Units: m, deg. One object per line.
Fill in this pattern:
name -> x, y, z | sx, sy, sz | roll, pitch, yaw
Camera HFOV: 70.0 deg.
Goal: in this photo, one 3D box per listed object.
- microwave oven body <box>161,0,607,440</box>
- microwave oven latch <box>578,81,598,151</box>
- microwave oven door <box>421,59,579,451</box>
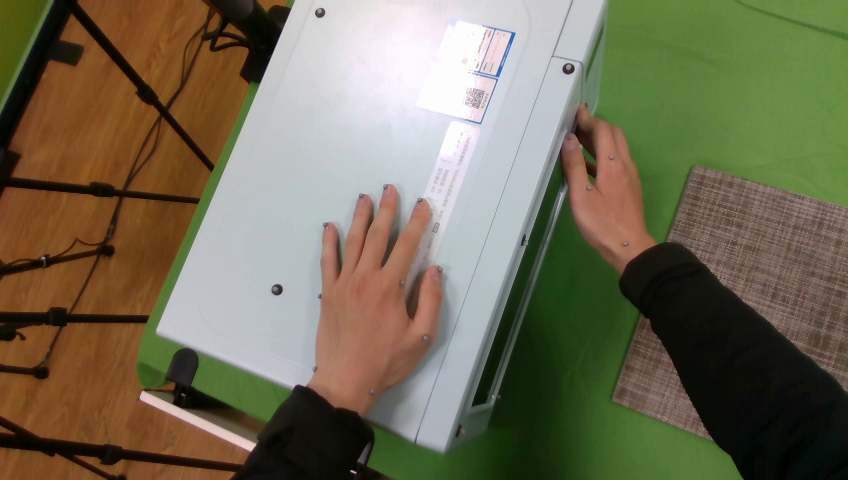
microwave oven body -> -0.027, -0.052, 0.675 | 0.324, 0.262, 0.440 | 18, 83, 16
microwave oven latch -> 0.191, -0.152, 0.747 | 0.030, 0.030, 0.079 | 18, 84, 16
microwave oven door -> 0.090, 0.029, 0.625 | 0.039, 0.245, 0.355 | 18, 83, 17
